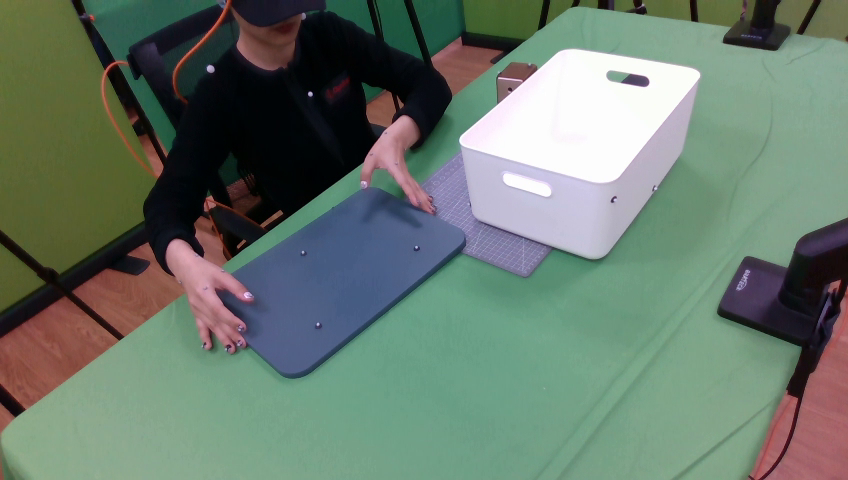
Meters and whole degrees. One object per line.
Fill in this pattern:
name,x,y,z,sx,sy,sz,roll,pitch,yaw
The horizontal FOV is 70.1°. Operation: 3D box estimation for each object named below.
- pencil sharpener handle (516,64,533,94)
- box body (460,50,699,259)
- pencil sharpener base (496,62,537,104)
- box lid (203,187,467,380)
pencil sharpener handle,0.214,-0.337,1.249,0.036,0.068,0.031,13,44,28
box body,0.261,-0.153,1.001,0.252,0.161,0.365,21,48,31
pencil sharpener base,0.190,-0.296,1.225,0.061,0.107,0.077,14,45,27
box lid,-0.136,0.044,0.963,0.261,0.015,0.373,28,53,36
